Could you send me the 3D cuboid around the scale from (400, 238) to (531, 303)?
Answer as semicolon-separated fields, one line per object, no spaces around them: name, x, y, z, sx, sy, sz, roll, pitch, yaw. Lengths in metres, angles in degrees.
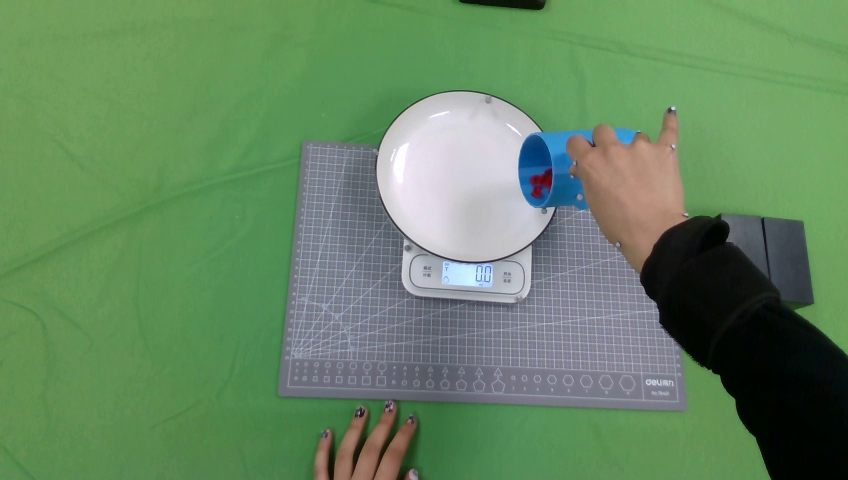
scale;0.052;-0.031;0.705;0.149;0.032;0.199;5;73;-4

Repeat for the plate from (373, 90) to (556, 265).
plate;0.047;-0.068;0.681;0.209;0.038;0.208;2;73;-7

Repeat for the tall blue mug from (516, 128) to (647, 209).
tall blue mug;0.164;-0.083;0.612;0.108;0.108;0.077;-6;60;-17
